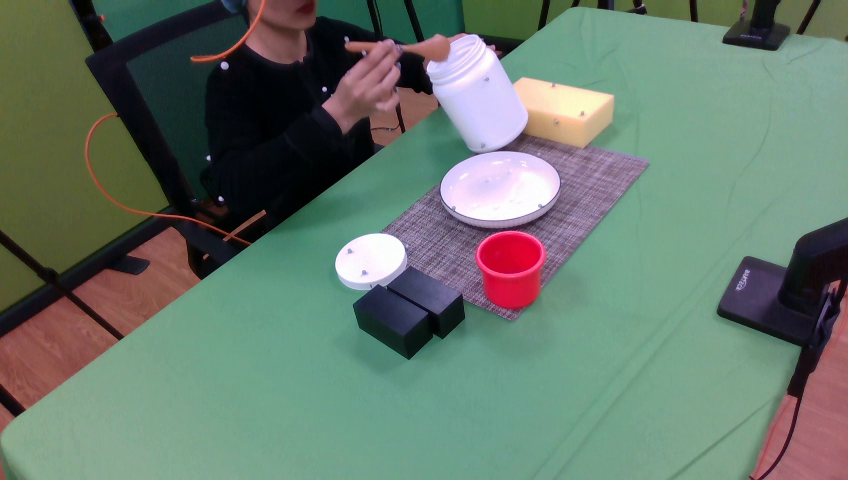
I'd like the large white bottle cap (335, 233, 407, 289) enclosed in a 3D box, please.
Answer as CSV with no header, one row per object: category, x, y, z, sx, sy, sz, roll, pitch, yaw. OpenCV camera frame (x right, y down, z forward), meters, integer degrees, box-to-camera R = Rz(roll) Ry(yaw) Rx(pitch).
large white bottle cap,-0.085,0.032,0.961,0.115,0.018,0.114,-6,41,6

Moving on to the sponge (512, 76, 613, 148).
sponge,0.254,-0.259,1.207,0.205,0.061,0.118,22,47,31

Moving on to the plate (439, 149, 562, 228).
plate,0.131,-0.085,1.040,0.209,0.038,0.208,-5,41,5

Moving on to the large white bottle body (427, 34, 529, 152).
large white bottle body,0.097,-0.270,1.116,0.130,0.186,0.130,-26,33,19

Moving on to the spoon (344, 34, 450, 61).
spoon,-0.037,-0.299,0.938,0.195,0.041,0.021,-10,29,-30
